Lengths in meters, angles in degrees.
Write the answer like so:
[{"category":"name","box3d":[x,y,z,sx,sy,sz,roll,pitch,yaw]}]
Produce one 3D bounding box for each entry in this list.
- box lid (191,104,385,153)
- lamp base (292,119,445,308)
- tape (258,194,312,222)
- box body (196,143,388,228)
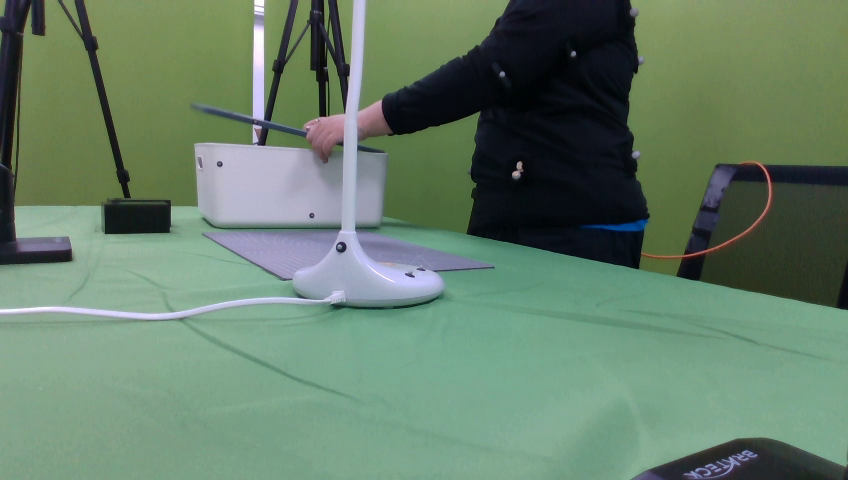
[{"category":"box lid","box3d":[-0.290,-0.233,1.275,0.373,0.015,0.262,9,8,-29]},{"category":"lamp base","box3d":[-0.056,-0.030,0.616,0.160,0.180,0.179,4,10,8]},{"category":"tape","box3d":[-0.298,-0.070,1.298,0.117,0.052,0.117,2,7,0]},{"category":"box body","box3d":[-0.286,-0.118,1.291,0.366,0.160,0.253,-1,8,-27]}]
